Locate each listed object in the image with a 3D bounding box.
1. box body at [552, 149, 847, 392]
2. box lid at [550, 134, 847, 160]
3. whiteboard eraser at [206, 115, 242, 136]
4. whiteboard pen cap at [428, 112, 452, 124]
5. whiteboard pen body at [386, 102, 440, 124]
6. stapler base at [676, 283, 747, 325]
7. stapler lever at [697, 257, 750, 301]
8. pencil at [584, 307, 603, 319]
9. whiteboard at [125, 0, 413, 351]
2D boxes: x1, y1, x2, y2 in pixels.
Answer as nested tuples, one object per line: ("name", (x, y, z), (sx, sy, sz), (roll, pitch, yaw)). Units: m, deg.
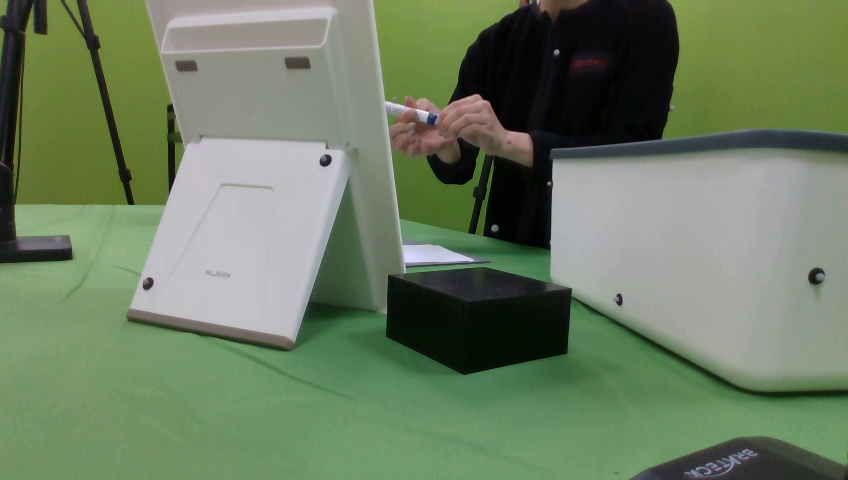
("box body", (0.290, 0.002, 0.549), (0.255, 0.160, 0.363), (2, 7, -10))
("box lid", (0.294, -0.071, 0.538), (0.264, 0.015, 0.370), (2, 6, -10))
("whiteboard eraser", (-0.438, -0.249, 1.320), (0.056, 0.042, 0.112), (-3, 9, -30))
("whiteboard pen cap", (0.023, -0.172, 0.853), (0.033, 0.018, 0.018), (3, 7, 15))
("whiteboard pen body", (-0.035, -0.185, 0.868), (0.140, 0.017, 0.017), (17, 11, 15))
("stapler base", (0.283, 0.057, 0.585), (0.041, 0.024, 0.131), (29, 17, 34))
("stapler lever", (0.290, 0.035, 0.580), (0.026, 0.040, 0.119), (29, 19, 34))
("pencil", (0.250, 0.054, 0.656), (0.195, 0.012, 0.012), (-14, 14, -25))
("whiteboard", (-0.151, -0.050, 0.471), (0.216, 0.305, 0.144), (6, 27, 24))
